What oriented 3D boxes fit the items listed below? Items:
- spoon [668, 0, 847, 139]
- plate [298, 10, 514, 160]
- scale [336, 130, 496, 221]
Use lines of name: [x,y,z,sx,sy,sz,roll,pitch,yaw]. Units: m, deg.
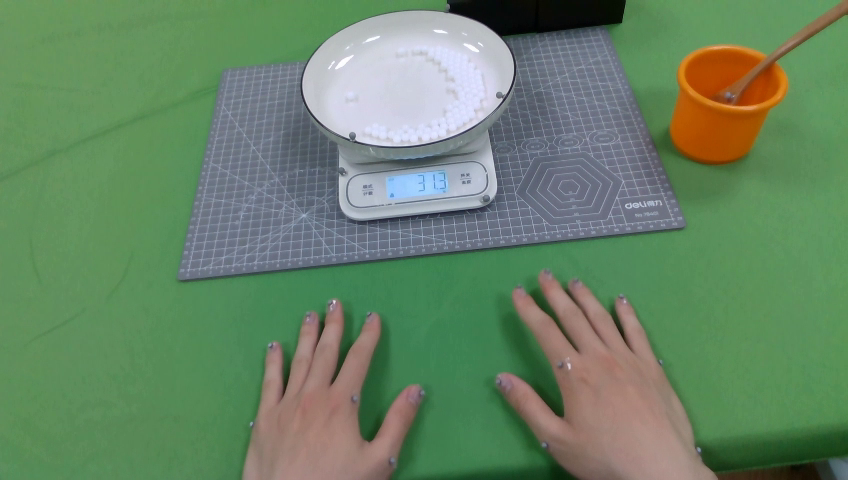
spoon: [0.304,-0.155,0.537,0.022,0.194,0.041,23,41,-33]
plate: [-0.017,-0.151,0.595,0.209,0.038,0.207,-2,53,3]
scale: [-0.013,-0.108,0.604,0.148,0.032,0.199,-6,53,2]
